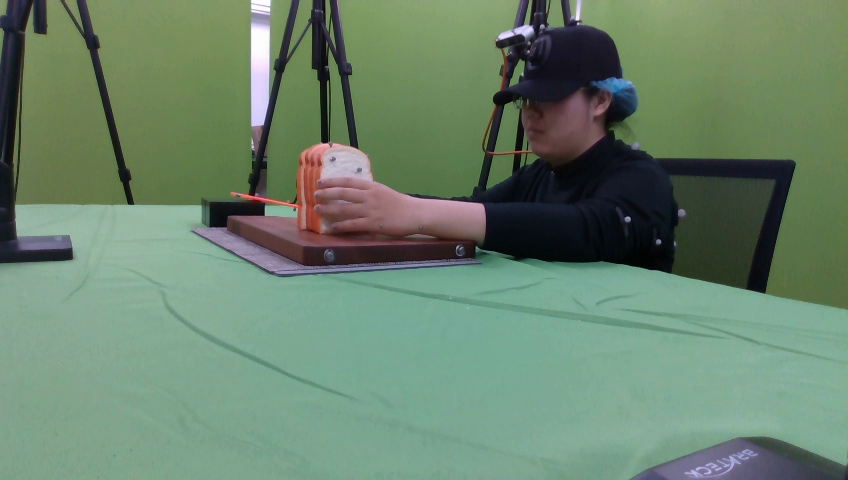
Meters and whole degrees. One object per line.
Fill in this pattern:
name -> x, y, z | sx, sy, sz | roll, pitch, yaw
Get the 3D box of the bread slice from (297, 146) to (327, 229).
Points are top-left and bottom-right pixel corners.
bread slice -> -0.156, -0.082, 0.958 | 0.019, 0.131, 0.105 | -3, -1, 45

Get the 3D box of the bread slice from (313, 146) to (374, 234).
bread slice -> -0.124, -0.076, 0.919 | 0.107, 0.134, 0.018 | -8, 8, -44

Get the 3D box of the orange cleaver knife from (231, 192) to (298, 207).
orange cleaver knife -> -0.280, -0.073, 1.225 | 0.212, 0.012, 0.077 | 11, 1, -31
